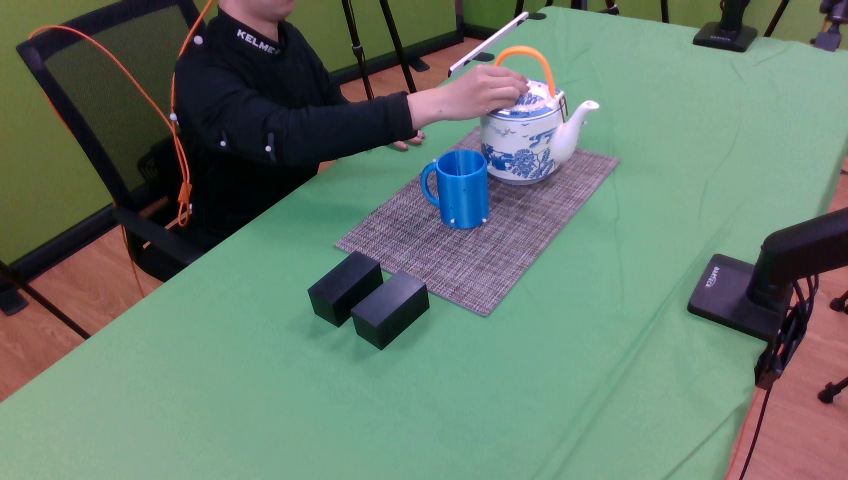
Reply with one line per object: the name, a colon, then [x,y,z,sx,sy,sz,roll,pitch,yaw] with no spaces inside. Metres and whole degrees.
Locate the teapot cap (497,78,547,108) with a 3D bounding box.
teapot cap: [0.164,-0.246,1.009,0.085,0.044,0.084,-3,44,3]

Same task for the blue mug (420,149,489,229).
blue mug: [0.048,-0.085,0.991,0.116,0.106,0.082,9,43,19]

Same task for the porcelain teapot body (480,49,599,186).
porcelain teapot body: [0.192,-0.208,1.023,0.204,0.226,0.145,17,46,25]
